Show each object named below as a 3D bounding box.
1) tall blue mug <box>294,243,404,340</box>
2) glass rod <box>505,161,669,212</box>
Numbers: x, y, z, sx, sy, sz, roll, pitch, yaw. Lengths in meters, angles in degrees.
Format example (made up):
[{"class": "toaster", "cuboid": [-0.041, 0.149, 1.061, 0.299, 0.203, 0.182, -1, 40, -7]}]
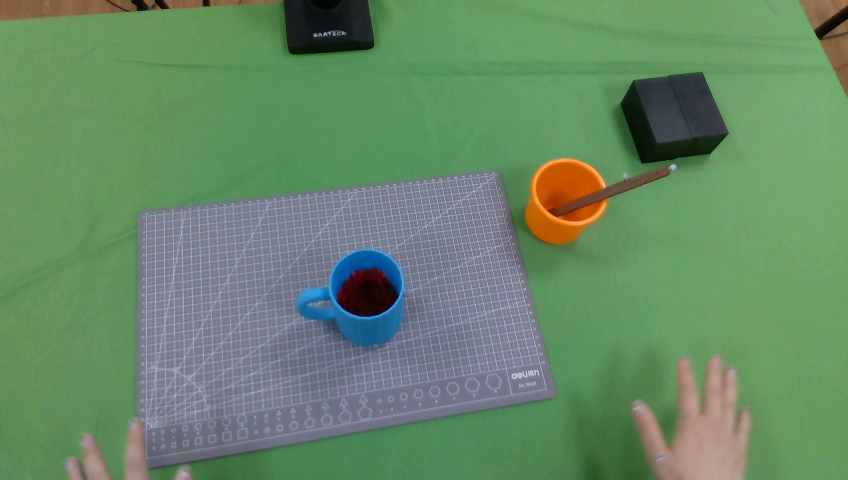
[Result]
[{"class": "tall blue mug", "cuboid": [-0.075, 0.065, 0.649, 0.107, 0.108, 0.077, -31, 73, -16]}, {"class": "glass rod", "cuboid": [0.185, -0.060, 0.712, 0.199, 0.008, 0.008, -16, 62, 31]}]
